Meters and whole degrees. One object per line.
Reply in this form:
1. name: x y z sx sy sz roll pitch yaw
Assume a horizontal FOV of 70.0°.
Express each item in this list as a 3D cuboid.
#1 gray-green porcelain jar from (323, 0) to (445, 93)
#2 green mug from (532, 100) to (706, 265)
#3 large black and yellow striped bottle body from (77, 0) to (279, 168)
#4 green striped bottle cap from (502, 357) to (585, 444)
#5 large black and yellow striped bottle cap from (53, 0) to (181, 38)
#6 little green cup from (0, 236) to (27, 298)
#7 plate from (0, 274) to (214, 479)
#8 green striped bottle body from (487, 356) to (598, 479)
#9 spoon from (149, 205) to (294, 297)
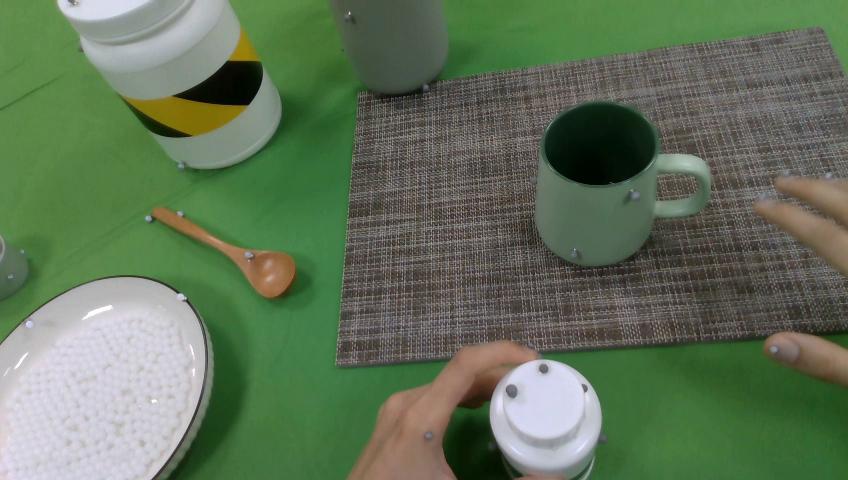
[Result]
1. gray-green porcelain jar: -0.037 -0.217 0.589 0.106 0.128 0.105 -6 54 8
2. green mug: 0.144 -0.040 0.455 0.125 0.106 0.092 2 59 13
3. large black and yellow striped bottle body: -0.229 -0.170 0.568 0.130 0.186 0.129 -5 59 9
4. green striped bottle cap: 0.065 0.087 0.328 0.044 0.020 0.044 -5 60 9
5. large black and yellow striped bottle cap: -0.246 -0.211 0.497 0.115 0.019 0.114 -5 57 8
6. little green cup: -0.415 0.026 0.575 0.061 0.039 0.061 -5 58 8
7. plate: -0.262 0.126 0.483 0.209 0.038 0.207 -5 58 8
8. green striped bottle body: 0.073 0.113 0.372 0.063 0.120 0.062 -6 58 10
9. spoon: -0.190 0.002 0.552 0.192 0.022 0.041 24 87 23
